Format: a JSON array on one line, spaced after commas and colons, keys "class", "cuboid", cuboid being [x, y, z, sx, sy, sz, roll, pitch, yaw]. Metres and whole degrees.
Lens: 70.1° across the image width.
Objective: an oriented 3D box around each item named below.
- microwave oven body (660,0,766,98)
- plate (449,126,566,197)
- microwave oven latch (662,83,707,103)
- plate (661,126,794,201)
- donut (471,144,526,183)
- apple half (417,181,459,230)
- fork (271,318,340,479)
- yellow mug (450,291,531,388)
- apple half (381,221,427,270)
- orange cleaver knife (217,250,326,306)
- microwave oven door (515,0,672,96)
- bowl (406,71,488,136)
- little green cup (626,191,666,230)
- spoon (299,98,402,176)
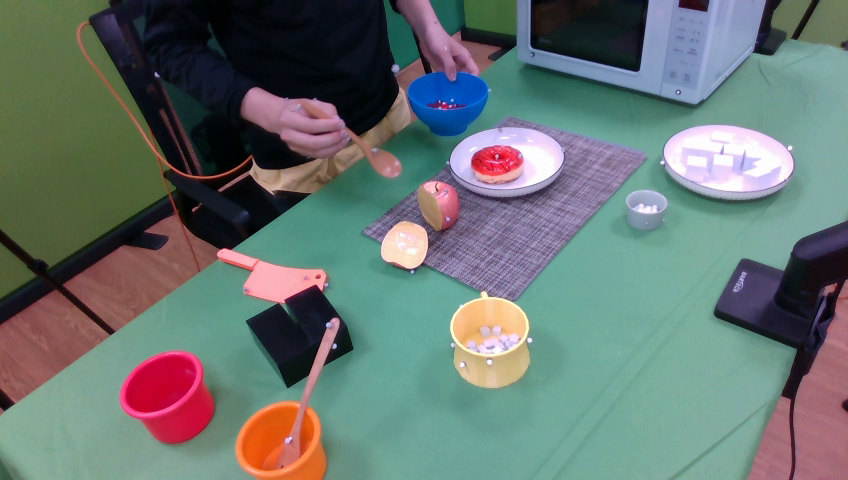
[{"class": "microwave oven body", "cuboid": [0.472, -0.513, 1.317, 0.438, 0.261, 0.327, 26, 51, 34]}, {"class": "plate", "cuboid": [0.150, -0.138, 1.097, 0.209, 0.038, 0.208, -4, 40, 4]}, {"class": "microwave oven latch", "cuboid": [0.517, -0.296, 1.204, 0.078, 0.029, 0.030, 27, 52, 35]}, {"class": "plate", "cuboid": [0.513, -0.128, 1.035, 0.207, 0.039, 0.206, -4, 40, 4]}, {"class": "donut", "cuboid": [0.133, -0.139, 1.082, 0.099, 0.048, 0.098, -5, 38, 5]}, {"class": "apple half", "cuboid": [0.030, -0.060, 0.995, 0.053, 0.075, 0.080, -23, 39, -22]}, {"class": "fork", "cuboid": [-0.132, 0.186, 0.676, 0.028, 0.019, 0.207, 18, 90, 28]}, {"class": "yellow mug", "cuboid": [0.085, 0.120, 0.786, 0.100, 0.064, 0.130, -7, 39, 1]}, {"class": "apple half", "cuboid": [-0.025, 0.012, 0.946, 0.081, 0.033, 0.081, -5, 73, 16]}, {"class": "orange cleaver knife", "cuboid": [-0.248, 0.059, 0.945, 0.210, 0.012, 0.077, 13, 49, 20]}, {"class": "microwave oven door", "cuboid": [0.343, -0.455, 1.259, 0.353, 0.245, 0.039, 26, 51, 33]}, {"class": "bowl", "cuboid": [0.043, -0.247, 1.127, 0.151, 0.077, 0.150, -1, 41, 1]}, {"class": "little green cup", "cuboid": [0.352, -0.046, 0.963, 0.061, 0.039, 0.061, -4, 40, 4]}, {"class": "spoon", "cuboid": [-0.101, -0.148, 0.865, 0.021, 0.195, 0.041, -4, 63, 39]}]
